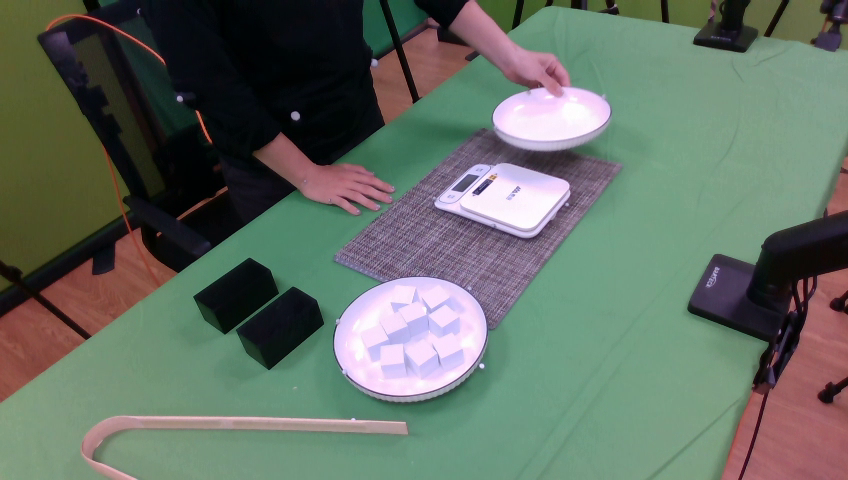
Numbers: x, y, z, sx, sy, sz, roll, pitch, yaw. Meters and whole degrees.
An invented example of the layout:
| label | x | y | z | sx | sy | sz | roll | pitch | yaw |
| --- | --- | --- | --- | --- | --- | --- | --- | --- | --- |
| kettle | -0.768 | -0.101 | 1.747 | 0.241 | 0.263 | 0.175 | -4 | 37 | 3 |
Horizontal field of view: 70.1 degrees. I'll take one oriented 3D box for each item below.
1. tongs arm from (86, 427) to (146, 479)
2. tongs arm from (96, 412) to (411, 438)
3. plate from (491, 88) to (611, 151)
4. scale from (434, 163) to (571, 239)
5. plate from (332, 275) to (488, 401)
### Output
| label | x | y | z | sx | sy | sz | roll | pitch | yaw |
| --- | --- | --- | --- | --- | --- | --- | --- | --- | --- |
| tongs arm | -0.232 | 0.280 | 0.665 | 0.383 | 0.026 | 0.051 | 9 | 43 | 20 |
| tongs arm | -0.208 | 0.225 | 0.731 | 0.387 | 0.028 | 0.028 | -1 | 44 | 8 |
| plate | 0.226 | -0.211 | 1.080 | 0.209 | 0.038 | 0.208 | -5 | 38 | 5 |
| scale | 0.132 | -0.075 | 1.025 | 0.199 | 0.032 | 0.149 | 22 | 48 | 30 |
| plate | -0.017 | 0.130 | 0.808 | 0.207 | 0.039 | 0.206 | -4 | 41 | 4 |
